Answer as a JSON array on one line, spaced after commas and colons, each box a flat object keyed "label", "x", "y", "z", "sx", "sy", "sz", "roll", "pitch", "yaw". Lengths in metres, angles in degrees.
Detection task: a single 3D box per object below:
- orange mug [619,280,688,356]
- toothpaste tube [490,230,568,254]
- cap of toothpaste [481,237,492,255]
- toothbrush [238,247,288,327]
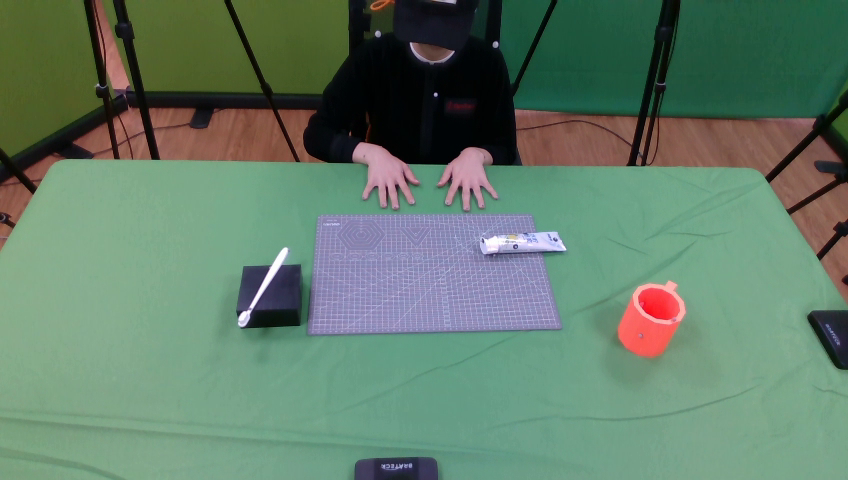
[{"label": "orange mug", "x": 0.401, "y": 0.125, "z": 1.045, "sx": 0.083, "sy": 0.101, "sz": 0.126, "roll": 30, "pitch": 56, "yaw": 24}, {"label": "toothpaste tube", "x": 0.201, "y": 0.006, "z": 1.195, "sx": 0.165, "sy": 0.034, "sz": 0.054, "roll": -5, "pitch": 51, "yaw": -14}, {"label": "cap of toothpaste", "x": 0.122, "y": 0.011, "z": 1.176, "sx": 0.011, "sy": 0.037, "sz": 0.037, "roll": -16, "pitch": 49, "yaw": -17}, {"label": "toothbrush", "x": -0.274, "y": 0.075, "z": 1.040, "sx": 0.014, "sy": 0.017, "sz": 0.181, "roll": 11, "pitch": 46, "yaw": 10}]
